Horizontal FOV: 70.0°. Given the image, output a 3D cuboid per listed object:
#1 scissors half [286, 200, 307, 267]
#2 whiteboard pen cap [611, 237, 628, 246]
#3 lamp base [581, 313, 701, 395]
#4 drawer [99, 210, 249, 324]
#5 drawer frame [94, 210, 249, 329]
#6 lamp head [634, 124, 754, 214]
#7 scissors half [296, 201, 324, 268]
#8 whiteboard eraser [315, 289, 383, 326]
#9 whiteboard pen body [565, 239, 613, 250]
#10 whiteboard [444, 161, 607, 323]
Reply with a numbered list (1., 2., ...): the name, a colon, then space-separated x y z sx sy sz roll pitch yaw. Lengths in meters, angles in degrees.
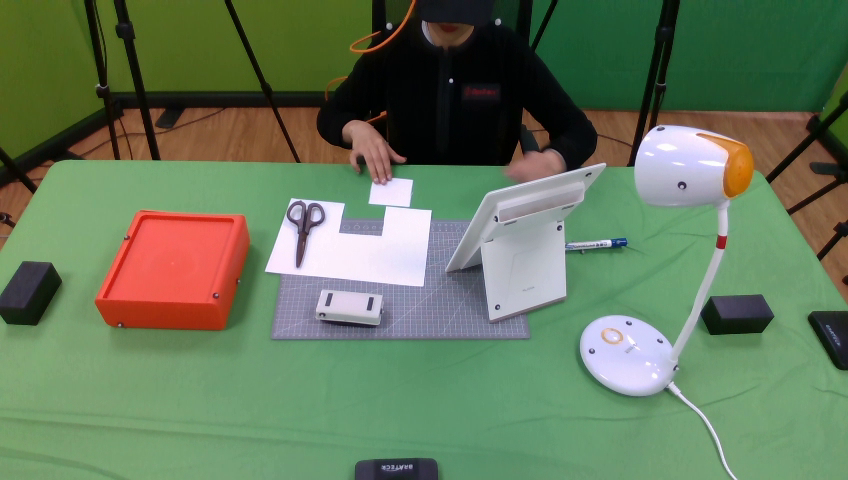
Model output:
1. scissors half: -0.249 -0.013 1.193 0.040 0.013 0.174 -10 50 -5
2. whiteboard pen cap: 0.390 0.004 1.215 0.033 0.018 0.018 -7 47 -2
3. lamp base: 0.361 0.144 0.972 0.178 0.181 0.160 34 53 23
4. drawer: -0.435 0.044 1.081 0.194 0.073 0.210 3 47 -2
5. drawer frame: -0.434 0.048 1.076 0.202 0.083 0.212 2 47 -3
6. lamp head: 0.351 -0.089 0.775 0.112 0.113 0.122 -30 30 -28
7. scissors half: -0.229 -0.013 1.193 0.040 0.013 0.174 7 50 3
8. whiteboard eraser: -0.130 0.119 1.054 0.113 0.042 0.055 6 47 1
9. whiteboard pen body: 0.331 0.008 1.211 0.141 0.017 0.017 -5 47 -4
10. whiteboard: 0.186 0.025 1.029 0.217 0.306 0.143 -14 68 -18
